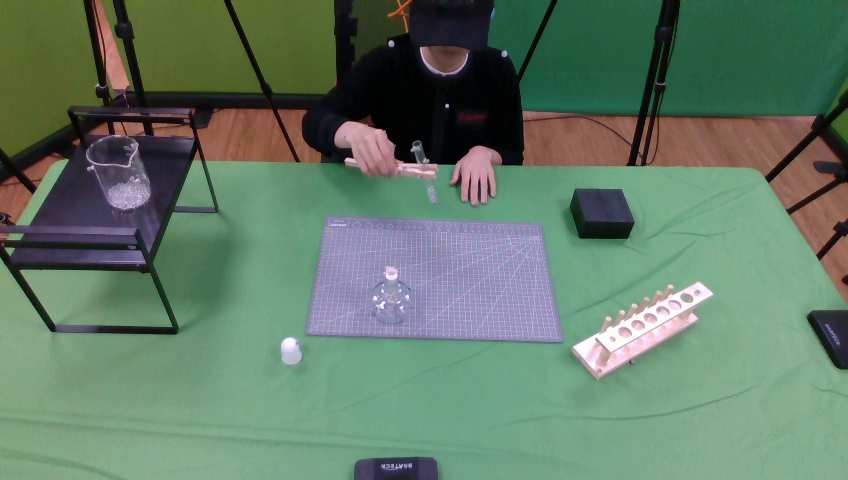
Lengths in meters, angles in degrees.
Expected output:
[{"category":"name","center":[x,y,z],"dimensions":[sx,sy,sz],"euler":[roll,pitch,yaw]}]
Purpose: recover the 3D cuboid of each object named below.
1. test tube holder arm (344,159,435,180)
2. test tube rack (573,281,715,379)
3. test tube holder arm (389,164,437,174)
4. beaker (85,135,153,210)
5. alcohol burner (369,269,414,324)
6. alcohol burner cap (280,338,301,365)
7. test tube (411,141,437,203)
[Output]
[{"category":"test tube holder arm","center":[-0.064,-0.126,1.070],"dimensions":[0.178,0.015,0.013],"euler":[10,54,22]},{"category":"test tube rack","center":[0.378,0.140,1.038],"dimensions":[0.242,0.085,0.066],"euler":[-22,51,-23]},{"category":"test tube holder arm","center":[-0.020,-0.125,1.057],"dimensions":[0.087,0.015,0.010],"euler":[4,53,18]},{"category":"beaker","center":[-0.475,-0.102,0.957],"dimensions":[0.083,0.101,0.074],"euler":[34,53,26]},{"category":"alcohol burner","center":[-0.056,0.089,1.037],"dimensions":[0.078,0.120,0.077],"euler":[1,47,-1]},{"category":"alcohol burner cap","center":[-0.220,0.179,0.993],"dimensions":[0.034,0.048,0.033],"euler":[2,46,-2]},{"category":"test tube","center":[0.002,-0.115,1.052],"dimensions":[0.017,0.151,0.017],"euler":[-8,52,10]}]
